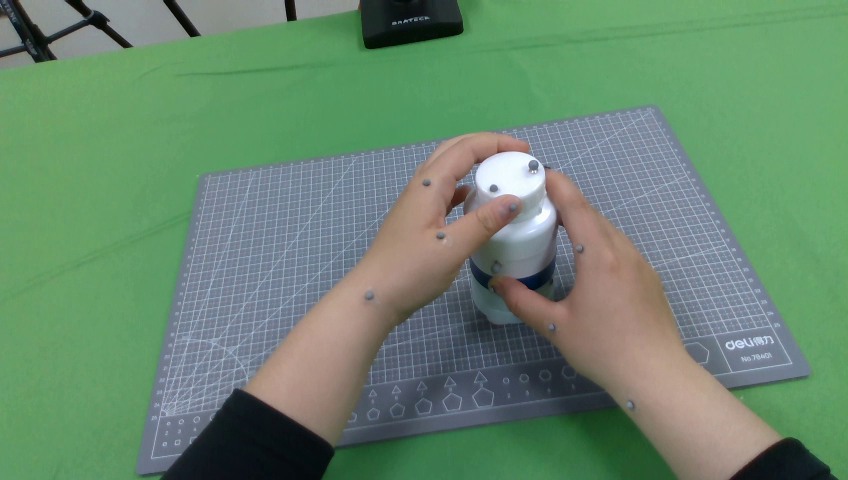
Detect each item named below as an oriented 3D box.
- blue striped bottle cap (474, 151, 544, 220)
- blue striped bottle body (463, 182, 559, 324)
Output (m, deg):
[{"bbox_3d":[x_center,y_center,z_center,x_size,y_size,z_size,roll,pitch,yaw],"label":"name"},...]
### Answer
[{"bbox_3d":[0.053,-0.035,0.378,0.044,0.021,0.044,-2,51,3],"label":"blue striped bottle cap"},{"bbox_3d":[0.060,0.000,0.418,0.063,0.122,0.062,-4,49,5],"label":"blue striped bottle body"}]
